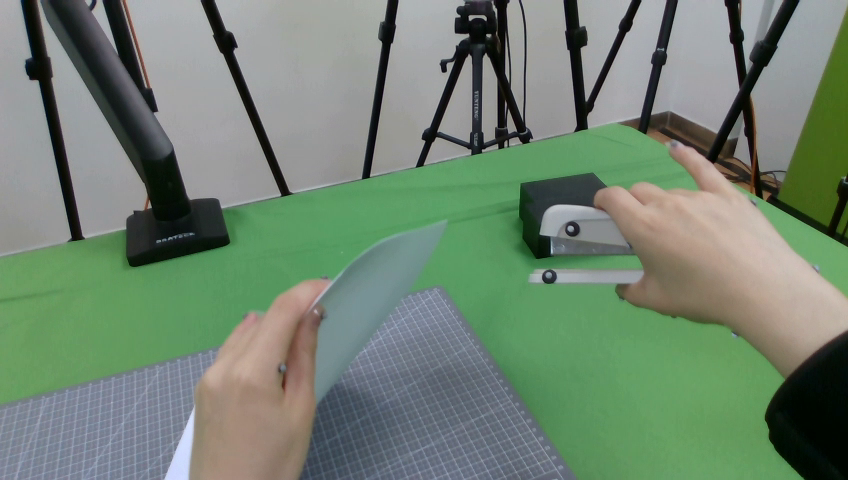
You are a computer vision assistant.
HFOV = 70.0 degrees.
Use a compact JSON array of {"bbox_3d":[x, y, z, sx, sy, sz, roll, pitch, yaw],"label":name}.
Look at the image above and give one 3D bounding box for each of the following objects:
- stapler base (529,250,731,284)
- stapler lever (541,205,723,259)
[{"bbox_3d":[0.138,0.019,0.415,0.130,0.024,0.041,-1,1,26],"label":"stapler base"},{"bbox_3d":[0.139,-0.006,0.415,0.117,0.040,0.027,-1,1,26],"label":"stapler lever"}]
